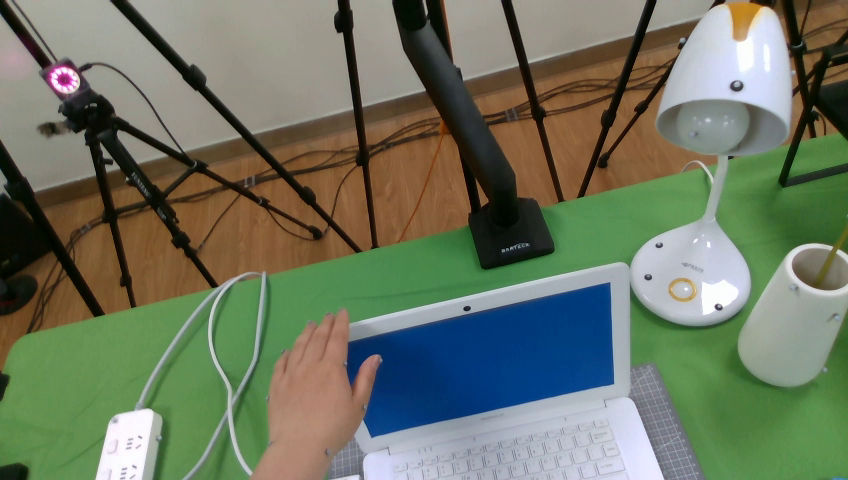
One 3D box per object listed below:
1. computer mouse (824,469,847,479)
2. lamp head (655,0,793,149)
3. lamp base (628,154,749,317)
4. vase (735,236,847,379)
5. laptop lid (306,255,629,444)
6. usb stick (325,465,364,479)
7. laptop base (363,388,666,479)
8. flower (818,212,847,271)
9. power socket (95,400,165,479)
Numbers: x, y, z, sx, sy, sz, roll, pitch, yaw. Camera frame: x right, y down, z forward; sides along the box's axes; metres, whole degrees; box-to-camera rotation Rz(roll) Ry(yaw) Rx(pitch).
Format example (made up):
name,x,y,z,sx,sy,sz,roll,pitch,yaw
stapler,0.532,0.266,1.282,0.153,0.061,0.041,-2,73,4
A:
name,x,y,z,sx,sy,sz,roll,pitch,yaw
computer mouse,0.447,0.298,0.635,0.062,0.041,0.117,21,55,30
lamp head,0.279,-0.156,0.553,0.112,0.113,0.122,11,73,21
lamp base,0.366,-0.016,0.812,0.159,0.182,0.178,14,54,23
vase,0.429,0.081,0.707,0.098,0.202,0.097,-8,50,10
laptop lid,0.065,0.140,0.710,0.357,0.244,0.013,-15,39,3
usb stick,-0.093,0.298,0.757,0.059,0.027,0.021,-9,48,1
laptop base,0.108,0.318,0.711,0.354,0.023,0.233,-13,53,2
flower,0.429,0.021,0.648,0.038,0.365,0.043,-13,39,-19
power socket,-0.405,0.321,0.818,0.072,0.033,0.224,-11,50,5
